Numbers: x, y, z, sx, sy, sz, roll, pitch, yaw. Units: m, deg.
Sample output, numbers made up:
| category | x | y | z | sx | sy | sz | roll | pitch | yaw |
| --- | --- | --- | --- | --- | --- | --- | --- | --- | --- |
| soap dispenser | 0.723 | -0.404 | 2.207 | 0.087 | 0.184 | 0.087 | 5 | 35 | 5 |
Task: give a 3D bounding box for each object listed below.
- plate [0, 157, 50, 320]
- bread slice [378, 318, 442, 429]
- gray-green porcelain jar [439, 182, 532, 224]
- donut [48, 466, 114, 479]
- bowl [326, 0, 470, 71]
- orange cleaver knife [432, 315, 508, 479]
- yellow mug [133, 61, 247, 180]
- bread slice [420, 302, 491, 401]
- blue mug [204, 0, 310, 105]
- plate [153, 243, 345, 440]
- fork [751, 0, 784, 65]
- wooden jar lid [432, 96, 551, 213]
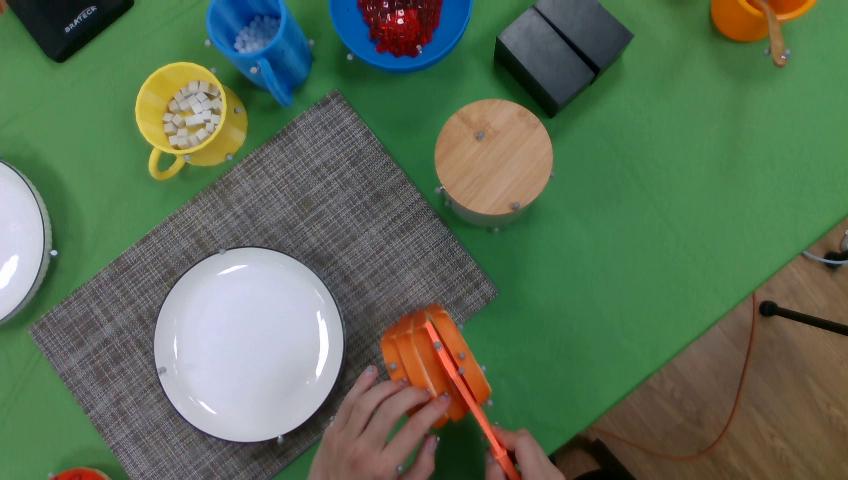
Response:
| category | x | y | z | sx | sy | sz | roll | pitch | yaw |
| --- | --- | --- | --- | --- | --- | --- | --- | --- | --- |
| plate | -0.522 | 0.001 | 0.689 | 0.207 | 0.039 | 0.207 | 0 | 86 | 3 |
| bread slice | -0.013 | 0.131 | 0.608 | 0.018 | 0.134 | 0.106 | -27 | 84 | 3 |
| gray-green porcelain jar | 0.066 | -0.072 | 0.619 | 0.106 | 0.127 | 0.105 | 0 | 85 | 3 |
| donut | -0.375 | 0.296 | 0.659 | 0.099 | 0.048 | 0.099 | 0 | 85 | 1 |
| bowl | -0.024 | -0.248 | 0.660 | 0.151 | 0.077 | 0.151 | 0 | 86 | 3 |
| orange cleaver knife | 0.048 | 0.165 | 0.574 | 0.012 | 0.076 | 0.213 | -19 | 115 | 9 |
| yellow mug | -0.264 | -0.124 | 0.670 | 0.100 | 0.064 | 0.131 | 29 | 89 | 6 |
| bread slice | 0.032 | 0.110 | 0.606 | 0.019 | 0.131 | 0.105 | -30 | 90 | -6 |
| blue mug | -0.170 | -0.202 | 0.651 | 0.082 | 0.106 | 0.116 | -19 | 85 | 2 |
| plate | -0.186 | 0.108 | 0.660 | 0.209 | 0.038 | 0.208 | 0 | 86 | 3 |
| fork | 0.337 | -0.227 | 0.603 | 0.028 | 0.019 | 0.206 | 23 | 44 | -2 |
| wooden jar lid | 0.062 | -0.078 | 0.557 | 0.108 | 0.021 | 0.108 | 0 | 86 | 1 |
